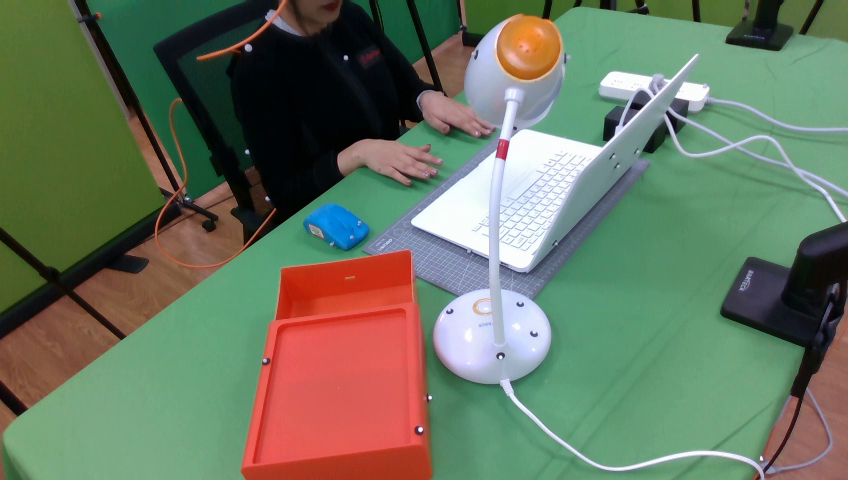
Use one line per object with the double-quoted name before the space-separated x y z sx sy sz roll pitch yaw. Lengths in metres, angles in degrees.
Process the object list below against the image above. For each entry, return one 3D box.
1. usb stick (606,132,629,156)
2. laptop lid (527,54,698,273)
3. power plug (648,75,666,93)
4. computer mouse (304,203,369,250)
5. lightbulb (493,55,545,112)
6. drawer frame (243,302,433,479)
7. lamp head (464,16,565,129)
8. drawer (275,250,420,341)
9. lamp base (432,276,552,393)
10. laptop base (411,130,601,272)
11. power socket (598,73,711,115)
"usb stick" 0.353 -0.174 1.109 0.021 0.027 0.059 22 49 35
"laptop lid" 0.281 -0.113 0.896 0.013 0.242 0.358 38 55 17
"power plug" 0.457 -0.301 1.212 0.073 0.053 0.035 -36 46 -28
"computer mouse" -0.151 -0.026 1.037 0.116 0.041 0.063 28 50 31
"lightbulb" 0.110 -0.180 0.679 0.059 0.059 0.107 -11 -1 -1
"drawer frame" -0.096 0.185 0.738 0.202 0.083 0.212 -8 40 1
"lamp head" 0.101 -0.184 0.655 0.112 0.112 0.123 -9 1 0
"drawer" -0.104 0.118 0.825 0.194 0.073 0.210 -8 40 1
"lamp base" 0.085 0.075 0.756 0.161 0.181 0.178 -14 44 -6
"laptop base" 0.175 -0.083 1.054 0.233 0.023 0.355 22 49 36
"power socket" 0.470 -0.304 1.248 0.225 0.033 0.072 20 49 30
